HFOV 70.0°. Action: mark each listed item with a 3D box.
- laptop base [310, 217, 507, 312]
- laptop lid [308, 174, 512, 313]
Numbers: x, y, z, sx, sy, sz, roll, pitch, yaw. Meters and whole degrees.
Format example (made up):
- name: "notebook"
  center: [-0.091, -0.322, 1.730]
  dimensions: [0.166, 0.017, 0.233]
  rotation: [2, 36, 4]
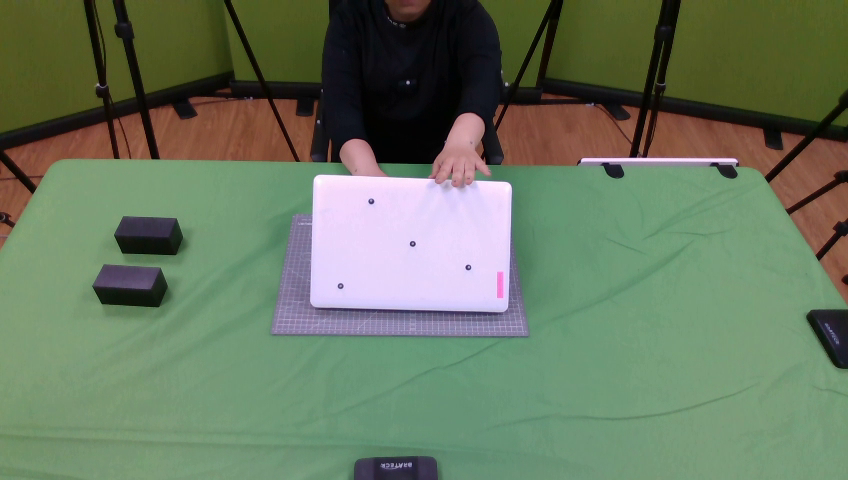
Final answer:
- name: "laptop base"
  center: [-0.028, 0.045, 1.154]
  dimensions: [0.354, 0.023, 0.234]
  rotation: [2, 42, -3]
- name: "laptop lid"
  center: [-0.023, 0.006, 1.062]
  dimensions: [0.357, 0.013, 0.241]
  rotation: [3, 90, -3]
